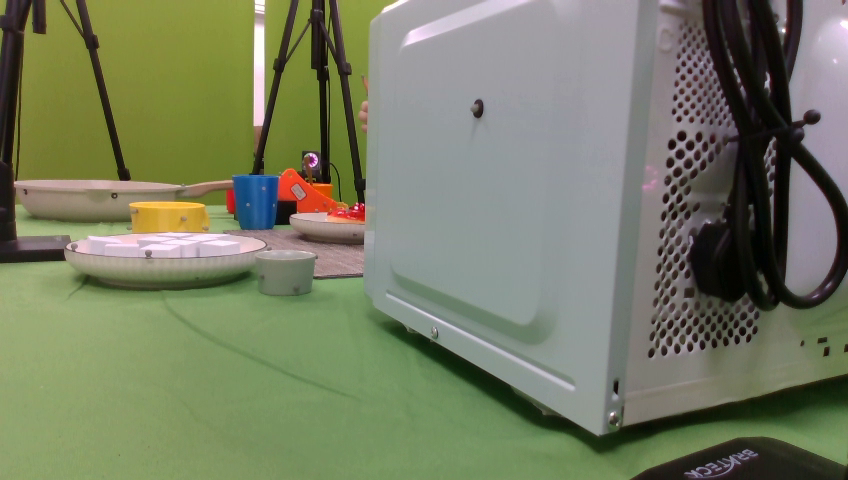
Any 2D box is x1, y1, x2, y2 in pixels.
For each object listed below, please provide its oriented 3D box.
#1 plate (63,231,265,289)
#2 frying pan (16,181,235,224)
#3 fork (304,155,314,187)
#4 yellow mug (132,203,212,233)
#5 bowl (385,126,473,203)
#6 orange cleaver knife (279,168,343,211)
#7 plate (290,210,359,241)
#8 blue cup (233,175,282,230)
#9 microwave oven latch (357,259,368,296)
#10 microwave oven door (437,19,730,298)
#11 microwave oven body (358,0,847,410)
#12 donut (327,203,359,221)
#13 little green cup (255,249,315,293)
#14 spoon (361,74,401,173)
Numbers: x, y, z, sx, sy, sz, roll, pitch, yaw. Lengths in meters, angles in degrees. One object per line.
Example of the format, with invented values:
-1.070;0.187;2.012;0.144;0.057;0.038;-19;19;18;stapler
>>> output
-0.288;0.021;0.687;0.208;0.039;0.207;2;8;0;plate
-0.554;-0.097;1.266;0.490;0.102;0.305;-10;13;-24;frying pan
-0.268;-0.134;1.446;0.028;0.018;0.207;2;-36;-1;fork
-0.356;-0.020;0.878;0.099;0.064;0.131;4;7;22;yellow mug
0.019;-0.113;0.993;0.151;0.076;0.151;-19;-16;-5;bowl
-0.236;-0.084;1.333;0.212;0.077;0.012;31;-9;-32;orange cleaver knife
-0.127;-0.026;1.051;0.209;0.038;0.209;3;7;0;plate
-0.314;-0.071;1.141;0.093;0.100;0.092;0;7;0;blue cup
-0.019;0.031;0.528;0.079;0.029;0.030;-1;7;-25;microwave oven latch
0.181;-0.076;0.618;0.358;0.243;0.039;-2;8;-28;microwave oven door
0.210;-0.051;0.471;0.444;0.260;0.324;-1;7;-28;microwave oven body
-0.120;-0.037;1.056;0.099;0.048;0.099;5;7;0;donut
-0.144;0.031;0.627;0.061;0.038;0.061;2;6;0;little green cup
-0.076;-0.203;1.048;0.021;0.193;0.042;-19;-12;15;spoon
